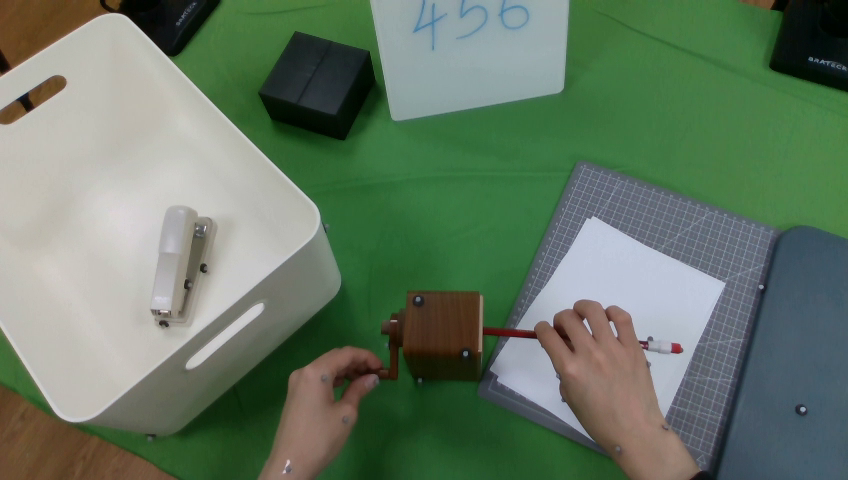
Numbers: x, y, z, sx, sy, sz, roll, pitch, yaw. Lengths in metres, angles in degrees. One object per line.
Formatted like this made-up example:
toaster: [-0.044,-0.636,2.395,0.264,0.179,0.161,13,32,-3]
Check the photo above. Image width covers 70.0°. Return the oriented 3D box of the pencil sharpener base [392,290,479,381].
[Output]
pencil sharpener base: [0.013,0.093,0.575,0.076,0.108,0.061,1,65,4]

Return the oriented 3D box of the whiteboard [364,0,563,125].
whiteboard: [0.036,-0.315,0.685,0.217,0.308,0.142,-10,46,-1]

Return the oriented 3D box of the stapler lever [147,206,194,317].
stapler lever: [-0.266,0.020,0.635,0.027,0.040,0.117,2,68,7]

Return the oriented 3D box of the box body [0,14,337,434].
box body: [-0.291,-0.016,0.611,0.254,0.161,0.361,-42,70,-15]

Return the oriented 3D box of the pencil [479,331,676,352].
pencil: [0.126,0.088,0.530,0.194,0.012,0.012,3,65,-3]

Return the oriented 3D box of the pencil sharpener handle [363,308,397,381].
pencil sharpener handle: [-0.040,0.096,0.554,0.030,0.036,0.068,1,94,4]

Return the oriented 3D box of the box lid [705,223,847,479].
box lid: [0.425,0.172,0.568,0.262,0.015,0.370,22,69,11]

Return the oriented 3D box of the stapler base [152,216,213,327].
stapler base: [-0.265,0.029,0.659,0.041,0.024,0.129,2,67,6]
